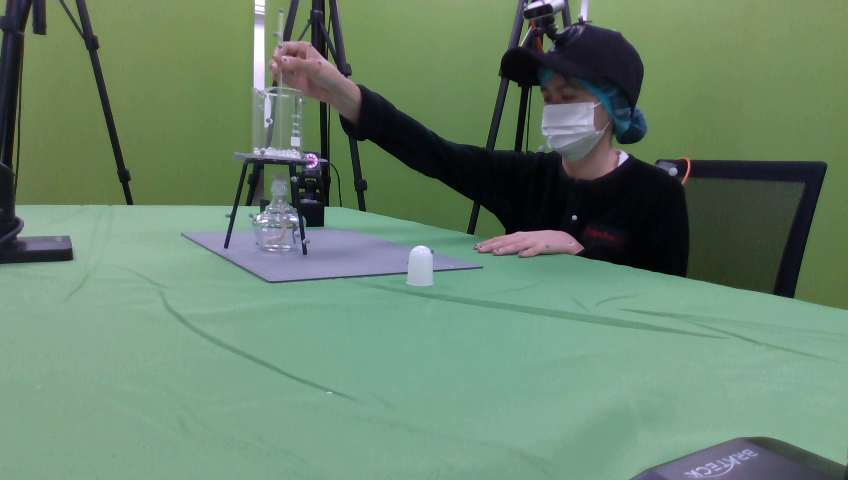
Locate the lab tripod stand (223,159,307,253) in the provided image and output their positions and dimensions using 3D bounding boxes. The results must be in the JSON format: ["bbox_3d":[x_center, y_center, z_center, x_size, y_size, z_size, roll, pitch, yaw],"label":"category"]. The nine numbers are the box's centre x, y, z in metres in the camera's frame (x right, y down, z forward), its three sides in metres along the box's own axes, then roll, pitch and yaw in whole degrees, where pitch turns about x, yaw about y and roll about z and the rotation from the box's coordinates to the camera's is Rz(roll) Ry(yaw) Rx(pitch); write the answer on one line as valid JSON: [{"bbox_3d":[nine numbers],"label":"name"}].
[{"bbox_3d":[-0.220,-0.053,0.896,0.148,0.131,0.148,1,6,0],"label":"lab tripod stand"}]

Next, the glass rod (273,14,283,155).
[{"bbox_3d":[-0.208,-0.221,0.860,0.008,0.199,0.008,3,1,0],"label":"glass rod"}]

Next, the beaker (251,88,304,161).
[{"bbox_3d":[-0.214,-0.165,0.874,0.074,0.100,0.084,4,6,16],"label":"beaker"}]

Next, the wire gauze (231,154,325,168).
[{"bbox_3d":[-0.215,-0.117,0.882,0.125,0.011,0.121,3,7,-19],"label":"wire gauze"}]

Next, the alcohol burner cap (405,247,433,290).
[{"bbox_3d":[-0.005,0.031,0.698,0.034,0.048,0.034,3,8,0],"label":"alcohol burner cap"}]

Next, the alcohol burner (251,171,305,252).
[{"bbox_3d":[-0.214,-0.042,0.888,0.078,0.119,0.078,2,9,0],"label":"alcohol burner"}]
